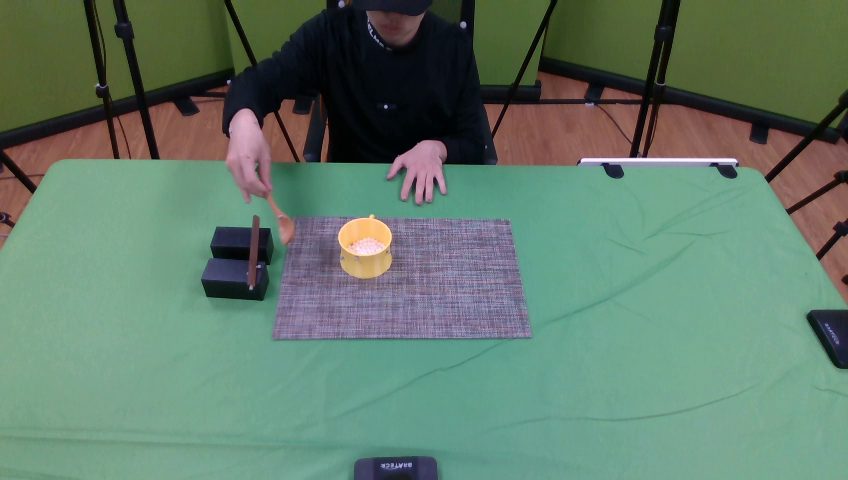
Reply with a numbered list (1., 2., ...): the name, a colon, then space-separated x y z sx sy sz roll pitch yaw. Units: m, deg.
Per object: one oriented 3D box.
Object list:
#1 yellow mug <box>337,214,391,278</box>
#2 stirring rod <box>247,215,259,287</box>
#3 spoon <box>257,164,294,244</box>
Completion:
1. yellow mug: -0.110 0.003 1.152 0.100 0.064 0.130 7 45 2
2. stirring rod: -0.309 0.016 1.097 0.014 0.006 0.175 24 36 -31
3. spoon: -0.267 -0.070 1.076 0.022 0.042 0.192 0 49 -44
